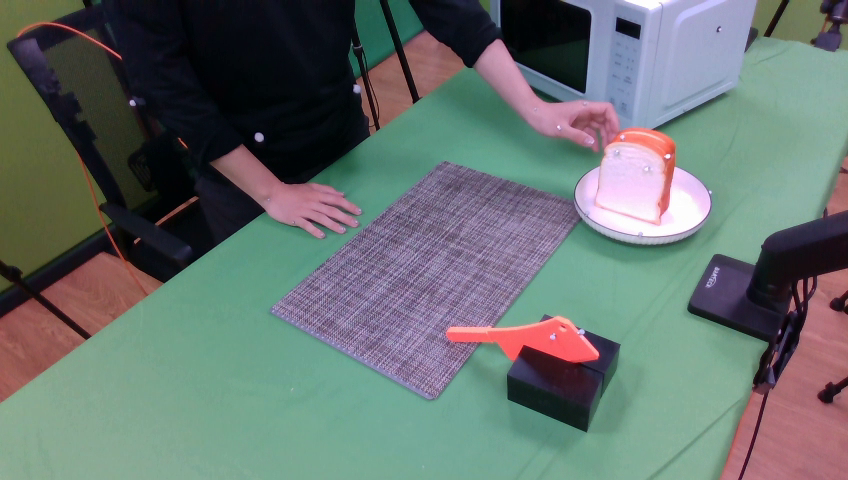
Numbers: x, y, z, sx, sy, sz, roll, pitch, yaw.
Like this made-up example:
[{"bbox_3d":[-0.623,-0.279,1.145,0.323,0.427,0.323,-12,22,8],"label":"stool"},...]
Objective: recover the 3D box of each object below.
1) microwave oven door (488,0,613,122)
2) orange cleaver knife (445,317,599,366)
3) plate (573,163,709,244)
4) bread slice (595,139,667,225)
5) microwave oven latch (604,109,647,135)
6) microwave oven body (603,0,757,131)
[{"bbox_3d":[0.250,-0.412,1.219,0.039,0.245,0.352,-27,44,-21],"label":"microwave oven door"},{"bbox_3d":[0.115,0.129,0.751,0.210,0.077,0.012,-11,31,44],"label":"orange cleaver knife"},{"bbox_3d":[0.347,-0.059,0.979,0.207,0.039,0.206,-4,41,4],"label":"plate"},{"bbox_3d":[0.320,-0.093,0.936,0.106,0.135,0.018,17,44,31],"label":"bread slice"},{"bbox_3d":[0.378,-0.225,1.139,0.030,0.029,0.078,-26,43,-20],"label":"microwave oven latch"},{"bbox_3d":[0.396,-0.448,1.248,0.327,0.261,0.437,-27,44,-21],"label":"microwave oven body"}]
